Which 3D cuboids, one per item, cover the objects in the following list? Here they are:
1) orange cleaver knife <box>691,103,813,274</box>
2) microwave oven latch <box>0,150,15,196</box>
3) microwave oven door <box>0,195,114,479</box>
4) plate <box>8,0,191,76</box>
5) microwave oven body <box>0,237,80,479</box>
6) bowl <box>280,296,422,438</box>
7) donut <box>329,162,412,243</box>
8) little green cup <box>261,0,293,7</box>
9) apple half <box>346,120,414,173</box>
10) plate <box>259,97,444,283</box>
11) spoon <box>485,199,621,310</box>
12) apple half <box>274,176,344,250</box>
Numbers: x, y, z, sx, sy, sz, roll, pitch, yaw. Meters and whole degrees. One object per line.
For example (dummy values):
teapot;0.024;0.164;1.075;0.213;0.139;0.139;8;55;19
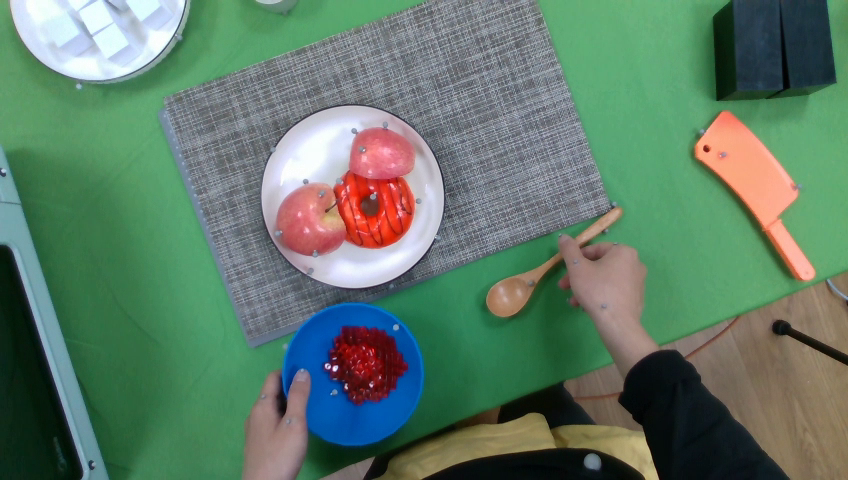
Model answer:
orange cleaver knife;0.387;-0.060;0.690;0.077;0.012;0.211;-36;88;-4
microwave oven latch;-0.492;-0.086;0.682;0.030;0.029;0.079;-17;90;1
microwave oven door;-0.429;0.122;0.580;0.039;0.244;0.355;-19;89;1
plate;-0.366;-0.289;0.697;0.207;0.039;0.207;0;90;1
microwave oven body;-0.581;0.127;0.589;0.326;0.260;0.441;-18;90;1
bowl;-0.075;0.133;0.673;0.151;0.077;0.151;0;90;1
donut;-0.062;-0.045;0.677;0.099;0.048;0.099;0;92;1
little green cup;-0.172;-0.300;0.693;0.061;0.038;0.061;0;90;2
apple half;-0.047;-0.109;0.661;0.081;0.033;0.080;2;49;-2
plate;-0.080;-0.056;0.688;0.209;0.038;0.209;0;90;2
spoon;0.151;0.015;0.694;0.194;0.022;0.041;-38;75;1
apple half;-0.132;-0.027;0.658;0.074;0.053;0.080;-17;88;42
